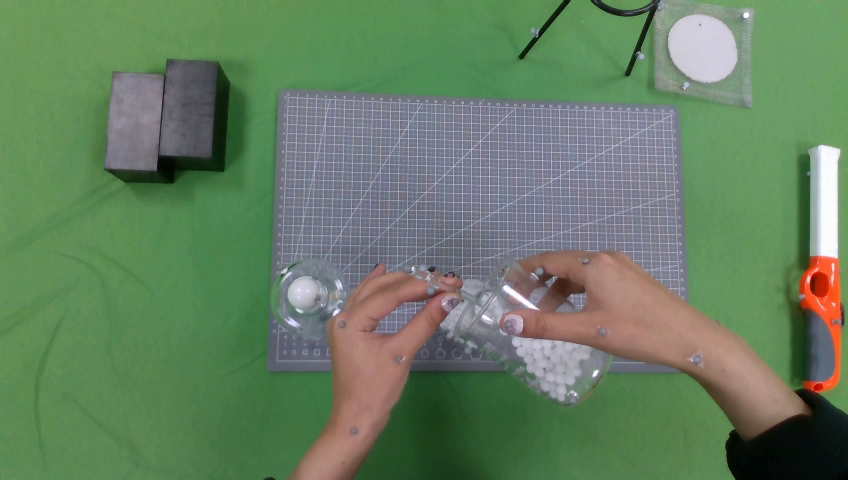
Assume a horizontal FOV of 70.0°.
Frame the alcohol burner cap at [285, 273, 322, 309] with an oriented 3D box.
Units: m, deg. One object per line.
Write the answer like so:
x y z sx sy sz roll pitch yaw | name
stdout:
-0.109 0.045 0.539 0.034 0.048 0.034 1 85 -8 | alcohol burner cap

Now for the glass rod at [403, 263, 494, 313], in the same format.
0.025 0.040 0.470 0.008 0.201 0.008 -6 74 21 | glass rod

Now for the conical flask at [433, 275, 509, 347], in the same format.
0.051 0.066 0.584 0.075 0.122 0.075 1 81 -5 | conical flask

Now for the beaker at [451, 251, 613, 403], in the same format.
0.081 0.067 0.453 0.100 0.084 0.074 36 84 -2 | beaker

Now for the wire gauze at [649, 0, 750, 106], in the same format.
0.323 -0.225 0.709 0.125 0.011 0.121 7 82 -6 | wire gauze

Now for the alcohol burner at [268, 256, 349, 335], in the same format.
-0.112 0.051 0.575 0.078 0.119 0.077 0 81 -3 | alcohol burner

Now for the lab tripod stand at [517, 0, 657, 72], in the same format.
0.178 -0.246 0.635 0.148 0.131 0.148 1 84 -5 | lab tripod stand

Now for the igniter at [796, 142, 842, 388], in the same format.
0.441 0.026 0.676 0.057 0.025 0.275 8 82 -15 | igniter
